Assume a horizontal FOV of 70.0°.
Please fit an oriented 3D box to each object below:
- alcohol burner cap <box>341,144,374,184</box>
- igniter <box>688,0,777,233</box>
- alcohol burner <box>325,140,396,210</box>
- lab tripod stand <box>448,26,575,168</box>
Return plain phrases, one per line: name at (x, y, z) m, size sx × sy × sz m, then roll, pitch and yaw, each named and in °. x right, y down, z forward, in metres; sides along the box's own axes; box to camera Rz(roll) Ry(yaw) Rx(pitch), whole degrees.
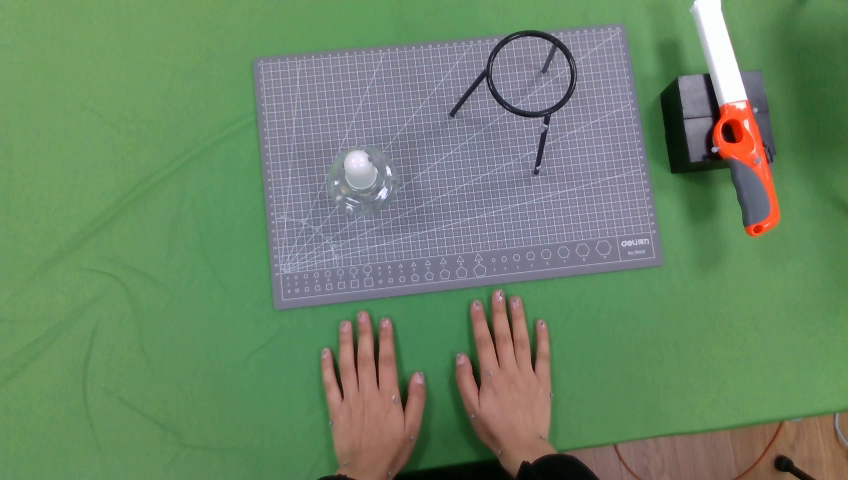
alcohol burner cap at (-0.069, -0.079, 0.611) m, size 0.034 × 0.048 × 0.033 m, roll 1°, pitch 76°, yaw -2°
igniter at (0.341, -0.144, 0.670) m, size 0.057 × 0.025 × 0.275 m, roll -10°, pitch 81°, yaw -1°
alcohol burner at (-0.069, -0.073, 0.646) m, size 0.078 × 0.119 × 0.077 m, roll 0°, pitch 84°, yaw -2°
lab tripod stand at (0.102, -0.162, 0.654) m, size 0.148 × 0.132 × 0.148 m, roll 0°, pitch 81°, yaw -1°
